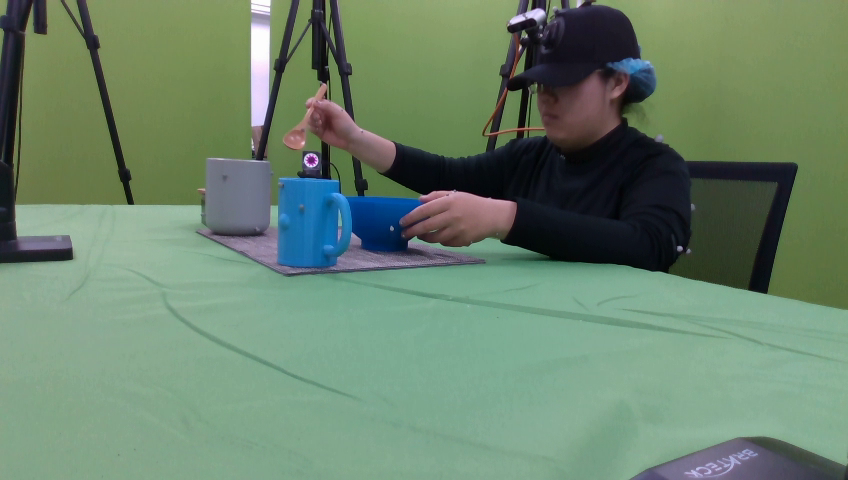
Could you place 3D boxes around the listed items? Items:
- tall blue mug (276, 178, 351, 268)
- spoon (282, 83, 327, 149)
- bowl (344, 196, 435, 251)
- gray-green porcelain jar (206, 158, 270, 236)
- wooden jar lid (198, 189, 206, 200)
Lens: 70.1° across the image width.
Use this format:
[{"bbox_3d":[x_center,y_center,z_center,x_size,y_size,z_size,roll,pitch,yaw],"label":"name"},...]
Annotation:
[{"bbox_3d":[-0.134,-0.022,0.766,0.107,0.108,0.078,4,7,12],"label":"tall blue mug"},{"bbox_3d":[-0.230,-0.249,1.200,0.042,0.193,0.021,25,-31,-8],"label":"spoon"},{"bbox_3d":[-0.061,-0.026,0.943,0.151,0.077,0.151,3,7,0],"label":"bowl"},{"bbox_3d":[-0.317,-0.074,1.031,0.106,0.126,0.106,3,7,0],"label":"gray-green porcelain jar"},{"bbox_3d":[-0.382,-0.088,1.175,0.108,0.020,0.108,3,8,0],"label":"wooden jar lid"}]
